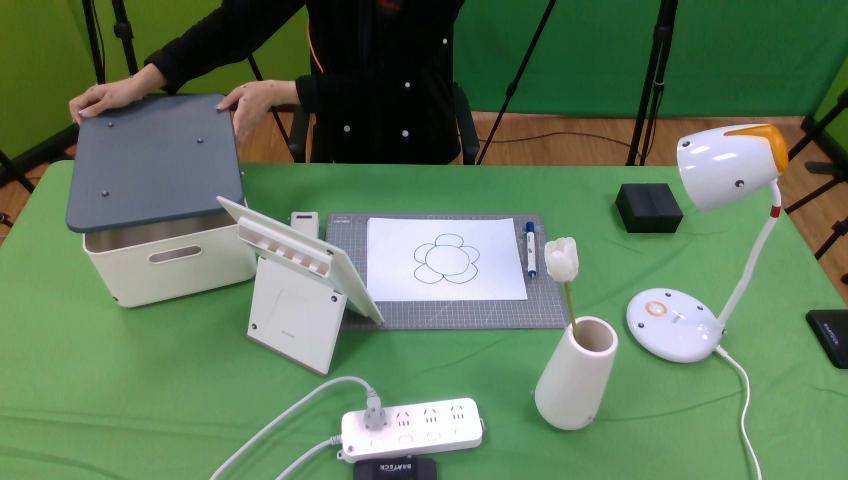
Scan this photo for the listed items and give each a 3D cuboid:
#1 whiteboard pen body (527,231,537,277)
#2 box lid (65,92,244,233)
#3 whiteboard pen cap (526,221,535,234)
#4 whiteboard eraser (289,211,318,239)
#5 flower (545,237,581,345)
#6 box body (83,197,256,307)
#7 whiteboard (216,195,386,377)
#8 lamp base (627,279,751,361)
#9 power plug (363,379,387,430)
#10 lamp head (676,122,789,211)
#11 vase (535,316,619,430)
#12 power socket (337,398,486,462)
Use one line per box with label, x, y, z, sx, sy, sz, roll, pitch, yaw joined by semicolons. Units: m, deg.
whiteboard pen body;0.211;0.018;1.191;0.017;0.017;0.140;6;44;2
box lid;-0.460;-0.149;1.048;0.264;0.015;0.369;-10;45;-15
whiteboard pen cap;0.216;-0.022;1.234;0.018;0.018;0.033;6;44;1
whiteboard eraser;-0.234;-0.007;1.172;0.055;0.042;0.112;-3;47;-5
flower;0.213;0.137;0.846;0.038;0.364;0.044;21;55;39
box body;-0.471;-0.071;1.131;0.254;0.161;0.361;-14;49;-17
whiteboard;-0.212;0.094;0.938;0.216;0.307;0.143;24;70;17
lamp base;0.460;0.100;1.027;0.178;0.181;0.160;27;51;17
power plug;-0.071;0.252;0.911;0.035;0.053;0.072;3;40;0
lamp head;0.423;-0.104;0.819;0.122;0.113;0.112;-13;33;40
vase;0.229;0.200;0.901;0.098;0.201;0.097;3;46;-3
power socket;-0.018;0.285;0.914;0.227;0.033;0.071;-4;46;-8
